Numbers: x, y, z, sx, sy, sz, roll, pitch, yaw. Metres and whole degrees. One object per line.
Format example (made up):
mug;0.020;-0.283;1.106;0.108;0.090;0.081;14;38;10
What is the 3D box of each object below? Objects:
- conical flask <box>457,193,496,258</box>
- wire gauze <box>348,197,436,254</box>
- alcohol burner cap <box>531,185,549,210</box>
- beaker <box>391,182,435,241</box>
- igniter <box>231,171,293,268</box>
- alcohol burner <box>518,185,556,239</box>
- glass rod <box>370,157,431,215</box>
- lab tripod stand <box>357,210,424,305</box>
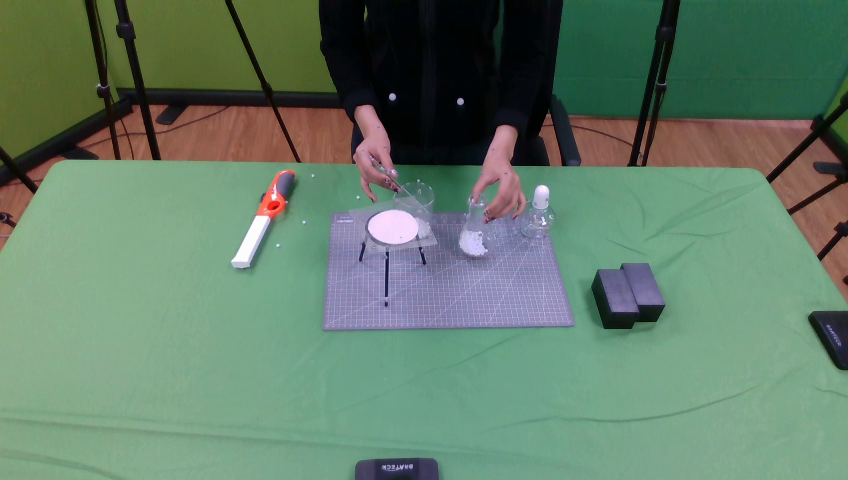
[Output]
conical flask;0.100;-0.032;1.144;0.075;0.122;0.075;-2;43;2
wire gauze;-0.056;-0.026;1.045;0.125;0.011;0.120;-12;46;-17
alcohol burner cap;0.228;-0.085;1.183;0.034;0.048;0.033;-1;48;1
beaker;-0.022;-0.053;1.192;0.084;0.101;0.073;-2;46;-5
igniter;-0.321;-0.051;1.220;0.057;0.025;0.275;1;45;11
alcohol burner;0.227;-0.061;1.209;0.078;0.120;0.077;1;44;-1
glass rod;-0.040;-0.097;1.137;0.008;0.201;0.008;-19;52;27
lab tripod stand;-0.060;0.020;1.094;0.148;0.132;0.147;3;44;-2
